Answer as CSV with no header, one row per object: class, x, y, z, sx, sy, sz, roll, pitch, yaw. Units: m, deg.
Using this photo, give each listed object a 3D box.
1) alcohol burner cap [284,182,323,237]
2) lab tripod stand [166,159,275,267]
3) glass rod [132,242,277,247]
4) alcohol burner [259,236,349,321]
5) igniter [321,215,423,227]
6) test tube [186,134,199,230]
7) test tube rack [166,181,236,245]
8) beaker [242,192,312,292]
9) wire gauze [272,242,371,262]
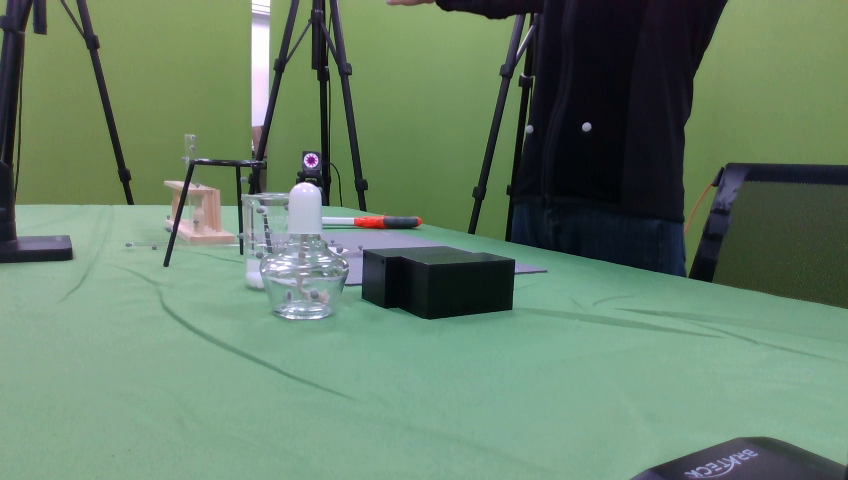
alcohol burner cap,-0.105,-0.027,0.529,0.034,0.048,0.034,2,3,0
lab tripod stand,-0.249,-0.036,0.764,0.148,0.131,0.148,2,9,0
glass rod,-0.316,0.007,0.885,0.201,0.008,0.008,0,7,-27
alcohol burner,-0.106,0.009,0.532,0.078,0.119,0.078,0,8,0
igniter,-0.136,-0.040,1.240,0.278,0.025,0.057,0,-2,-22
test tube,-0.360,-0.089,0.946,0.017,0.150,0.017,0,10,0
test tube rack,-0.383,-0.051,1.024,0.067,0.085,0.241,-2,9,-31
beaker,-0.157,0.000,0.642,0.084,0.100,0.074,4,7,19
wire gauze,-0.155,0.013,0.877,0.122,0.011,0.124,-3,10,-29
